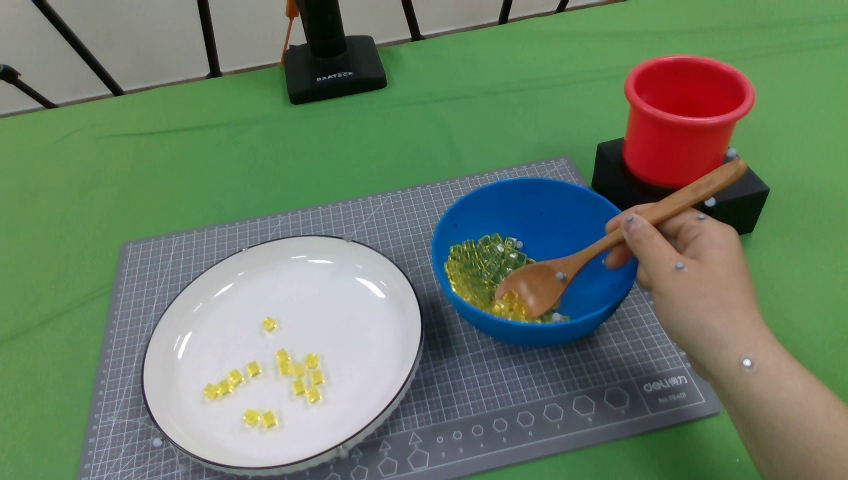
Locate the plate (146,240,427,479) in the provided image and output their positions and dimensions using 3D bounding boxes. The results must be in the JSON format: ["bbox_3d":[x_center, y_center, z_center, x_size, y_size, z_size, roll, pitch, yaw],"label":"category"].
[{"bbox_3d":[-0.100,0.086,0.463,0.207,0.039,0.205,-3,46,4],"label":"plate"}]

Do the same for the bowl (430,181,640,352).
[{"bbox_3d":[0.082,0.032,0.466,0.151,0.077,0.150,-3,46,4],"label":"bowl"}]

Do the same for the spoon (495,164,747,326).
[{"bbox_3d":[0.127,0.006,0.416,0.194,0.022,0.041,-37,56,31],"label":"spoon"}]
